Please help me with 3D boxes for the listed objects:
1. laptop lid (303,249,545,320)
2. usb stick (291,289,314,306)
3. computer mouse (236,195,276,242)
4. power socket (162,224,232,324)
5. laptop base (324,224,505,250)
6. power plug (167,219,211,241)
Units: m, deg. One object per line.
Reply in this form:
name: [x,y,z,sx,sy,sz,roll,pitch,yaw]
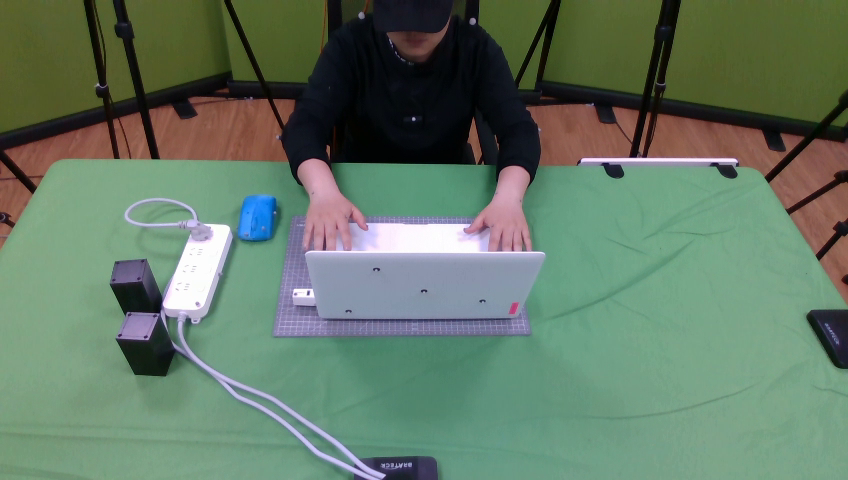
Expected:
laptop lid: [-0.003,0.077,0.962,0.357,0.242,0.013,1,58,-5]
usb stick: [-0.203,0.101,1.067,0.059,0.027,0.021,4,45,-5]
computer mouse: [-0.333,-0.047,1.206,0.063,0.041,0.116,3,50,-4]
power socket: [-0.410,0.052,1.106,0.072,0.033,0.225,4,46,-1]
laptop base: [-0.014,0.055,1.144,0.355,0.023,0.234,0,42,-4]
power plug: [-0.438,-0.017,1.143,0.072,0.053,0.035,10,43,7]
